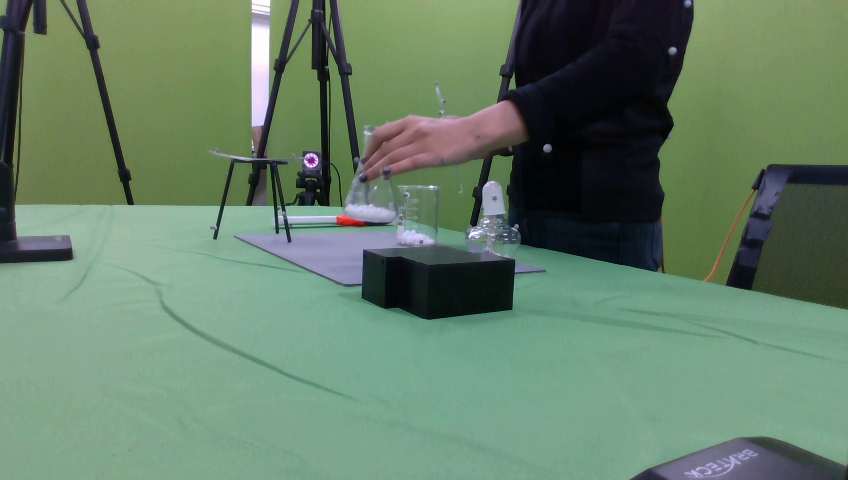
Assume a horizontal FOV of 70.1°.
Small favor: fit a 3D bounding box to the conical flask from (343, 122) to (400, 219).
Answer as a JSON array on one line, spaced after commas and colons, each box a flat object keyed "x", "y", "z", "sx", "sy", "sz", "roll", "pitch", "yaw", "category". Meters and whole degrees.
[{"x": -0.064, "y": -0.091, "z": 0.790, "sx": 0.075, "sy": 0.122, "sz": 0.075, "roll": 6, "pitch": 8, "yaw": -1, "category": "conical flask"}]

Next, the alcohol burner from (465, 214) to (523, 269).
[{"x": 0.094, "y": -0.022, "z": 0.815, "sx": 0.078, "sy": 0.119, "sz": 0.078, "roll": 0, "pitch": 7, "yaw": 0, "category": "alcohol burner"}]

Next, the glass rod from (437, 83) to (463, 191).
[{"x": 0.046, "y": -0.180, "z": 1.049, "sx": 0.008, "sy": 0.199, "sz": 0.008, "roll": -12, "pitch": -9, "yaw": -2, "category": "glass rod"}]

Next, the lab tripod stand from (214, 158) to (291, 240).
[{"x": -0.268, "y": -0.068, "z": 1.002, "sx": 0.148, "sy": 0.131, "sz": 0.148, "roll": 3, "pitch": 6, "yaw": 0, "category": "lab tripod stand"}]

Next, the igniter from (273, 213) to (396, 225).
[{"x": -0.179, "y": -0.044, "z": 1.258, "sx": 0.278, "sy": 0.025, "sz": 0.057, "roll": -3, "pitch": -1, "yaw": -39, "category": "igniter"}]

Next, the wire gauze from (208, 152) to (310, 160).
[{"x": -0.270, "y": -0.135, "z": 0.993, "sx": 0.124, "sy": 0.011, "sz": 0.122, "roll": 8, "pitch": 8, "yaw": 41, "category": "wire gauze"}]

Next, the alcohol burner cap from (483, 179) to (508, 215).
[{"x": 0.094, "y": -0.057, "z": 0.810, "sx": 0.034, "sy": 0.048, "sz": 0.034, "roll": -7, "pitch": 6, "yaw": 1, "category": "alcohol burner cap"}]

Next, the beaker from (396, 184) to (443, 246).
[{"x": -0.011, "y": -0.043, "z": 1.004, "sx": 0.083, "sy": 0.100, "sz": 0.074, "roll": 8, "pitch": 9, "yaw": 39, "category": "beaker"}]
